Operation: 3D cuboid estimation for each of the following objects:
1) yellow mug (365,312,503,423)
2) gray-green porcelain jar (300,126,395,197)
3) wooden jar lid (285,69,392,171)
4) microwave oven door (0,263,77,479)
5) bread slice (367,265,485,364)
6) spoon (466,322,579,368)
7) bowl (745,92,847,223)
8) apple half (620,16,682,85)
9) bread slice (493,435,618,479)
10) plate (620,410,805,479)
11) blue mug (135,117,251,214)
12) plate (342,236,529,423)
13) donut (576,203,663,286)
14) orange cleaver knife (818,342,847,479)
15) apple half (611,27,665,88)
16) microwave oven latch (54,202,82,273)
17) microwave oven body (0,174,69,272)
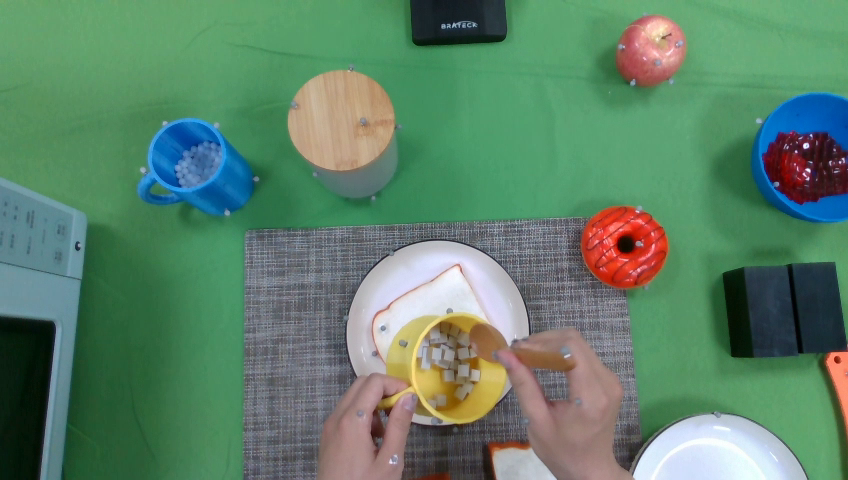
[{"bbox_3d":[0.004,0.125,0.570,0.131,0.064,0.100,-24,92,-26],"label":"yellow mug"},{"bbox_3d":[-0.087,-0.109,0.682,0.106,0.127,0.105,0,80,0],"label":"gray-green porcelain jar"},{"bbox_3d":[-0.087,-0.121,0.621,0.108,0.021,0.108,0,78,0],"label":"wooden jar lid"},{"bbox_3d":[-0.415,0.195,0.550,0.039,0.244,0.354,1,80,0],"label":"microwave oven door"},{"bbox_3d":[0.003,0.102,0.691,0.131,0.019,0.104,-28,81,-7],"label":"bread slice"},{"bbox_3d":[0.073,0.090,0.491,0.022,0.193,0.041,-19,91,-14],"label":"spoon"},{"bbox_3d":[0.440,-0.087,0.709,0.151,0.077,0.151,0,81,0],"label":"bowl"},{"bbox_3d":[0.278,-0.233,0.734,0.053,0.075,0.080,-34,78,-11],"label":"apple half"},{"bbox_3d":[0.146,0.267,0.640,0.135,0.018,0.106,-7,77,-22],"label":"bread slice"},{"bbox_3d":[0.313,0.291,0.665,0.209,0.038,0.208,0,80,-1],"label":"plate"},{"bbox_3d":[-0.265,-0.074,0.684,0.116,0.106,0.082,-27,81,-5],"label":"blue mug"},{"bbox_3d":[0.013,0.100,0.689,0.208,0.039,0.207,0,81,-1],"label":"plate"},{"bbox_3d":[0.226,0.006,0.704,0.099,0.048,0.098,0,81,-1],"label":"donut"},{"bbox_3d":[0.498,0.217,0.689,0.077,0.012,0.210,0,79,-8],"label":"orange cleaver knife"},{"bbox_3d":[0.247,-0.210,0.728,0.033,0.081,0.081,-35,82,-11],"label":"apple half"},{"bbox_3d":[-0.409,-0.003,0.686,0.030,0.029,0.079,3,81,-1],"label":"microwave oven latch"},{"bbox_3d":[-0.560,0.151,0.560,0.326,0.261,0.440,1,81,-1],"label":"microwave oven body"}]
